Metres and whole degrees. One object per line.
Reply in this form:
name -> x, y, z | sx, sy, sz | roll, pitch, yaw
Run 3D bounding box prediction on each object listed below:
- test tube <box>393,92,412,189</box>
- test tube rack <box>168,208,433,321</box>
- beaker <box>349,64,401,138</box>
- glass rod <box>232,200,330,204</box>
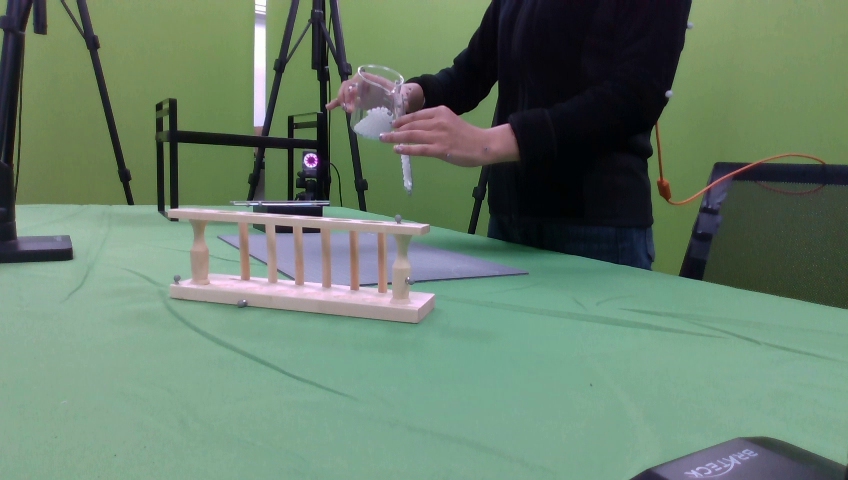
test tube -> -0.033, -0.150, 0.912 | 0.017, 0.150, 0.017 | -6, -6, 0
test tube rack -> -0.115, 0.017, 0.574 | 0.242, 0.085, 0.067 | 4, 8, 13
beaker -> -0.080, -0.222, 0.981 | 0.074, 0.100, 0.083 | -9, 43, -29
glass rod -> -0.265, -0.071, 1.146 | 0.201, 0.008, 0.008 | -4, 9, -40
